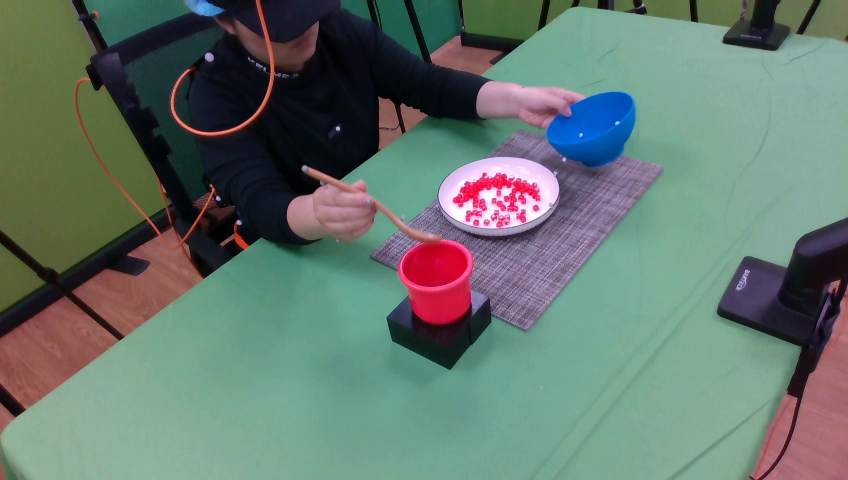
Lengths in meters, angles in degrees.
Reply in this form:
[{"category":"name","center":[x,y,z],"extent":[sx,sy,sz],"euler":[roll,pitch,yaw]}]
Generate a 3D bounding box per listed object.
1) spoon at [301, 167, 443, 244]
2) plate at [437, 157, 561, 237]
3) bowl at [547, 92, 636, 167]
[{"category":"spoon","center":[-0.062,-0.042,0.743],"extent":[0.021,0.194,0.041],"euler":[-57,14,6]},{"category":"plate","center":[0.127,-0.070,1.024],"extent":[0.207,0.039,0.206],"euler":[-5,40,5]},{"category":"bowl","center":[0.293,-0.177,1.027],"extent":[0.151,0.077,0.150],"euler":[-23,31,15]}]
